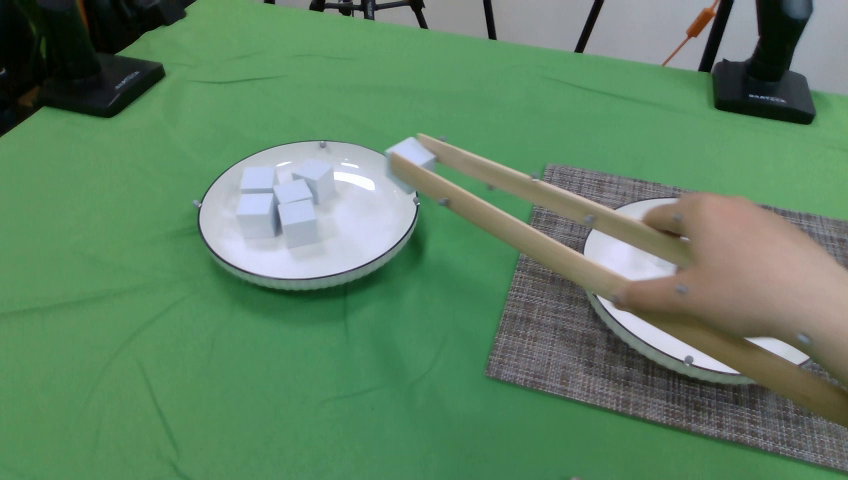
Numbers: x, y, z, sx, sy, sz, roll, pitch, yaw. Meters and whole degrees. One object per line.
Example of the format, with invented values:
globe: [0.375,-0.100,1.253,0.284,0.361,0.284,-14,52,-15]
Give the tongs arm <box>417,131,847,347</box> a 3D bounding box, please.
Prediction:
tongs arm: [0.131,0.002,0.420,0.381,0.027,0.050,27,50,29]

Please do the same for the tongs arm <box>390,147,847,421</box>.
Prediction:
tongs arm: [0.115,0.014,0.409,0.384,0.028,0.028,30,49,32]

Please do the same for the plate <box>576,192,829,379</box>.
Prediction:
plate: [0.236,0.037,0.535,0.208,0.039,0.205,1,44,-1]

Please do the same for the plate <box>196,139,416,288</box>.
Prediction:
plate: [-0.111,-0.026,0.595,0.209,0.038,0.207,1,44,-1]
